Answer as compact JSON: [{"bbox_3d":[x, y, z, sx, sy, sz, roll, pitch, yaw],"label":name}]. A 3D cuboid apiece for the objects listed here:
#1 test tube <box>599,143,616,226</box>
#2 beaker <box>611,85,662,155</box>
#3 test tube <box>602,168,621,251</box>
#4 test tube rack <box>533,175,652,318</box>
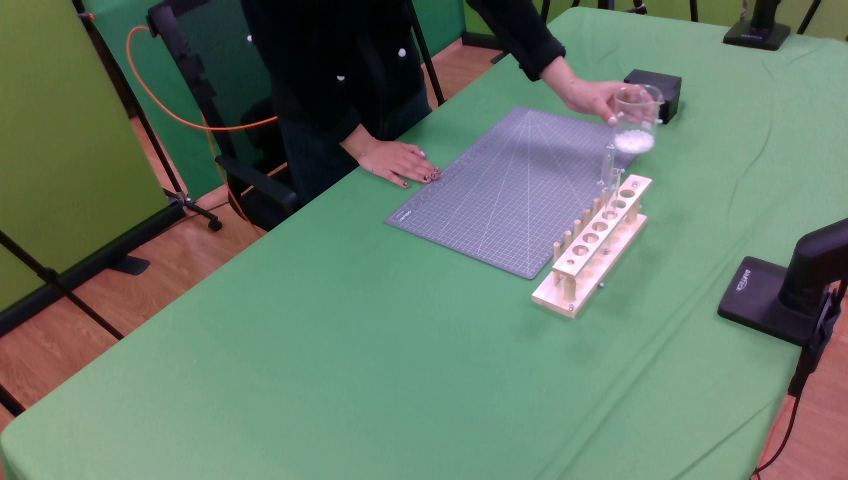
[{"bbox_3d":[0.273,-0.081,0.909,0.017,0.151,0.017,-4,42,4],"label":"test tube"},{"bbox_3d":[0.360,-0.201,1.028,0.083,0.101,0.074,22,49,35],"label":"beaker"},{"bbox_3d":[0.264,-0.039,0.854,0.017,0.151,0.017,-5,44,6],"label":"test tube"},{"bbox_3d":[0.250,-0.001,0.889,0.066,0.085,0.243,23,49,33],"label":"test tube rack"}]
